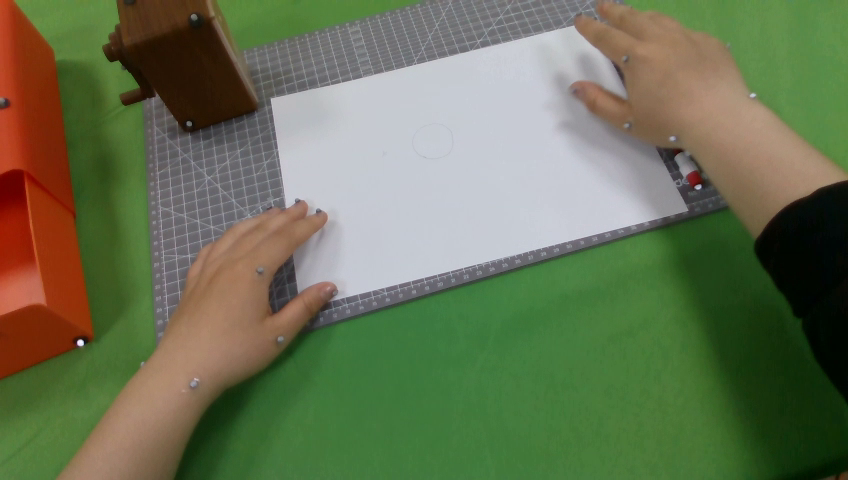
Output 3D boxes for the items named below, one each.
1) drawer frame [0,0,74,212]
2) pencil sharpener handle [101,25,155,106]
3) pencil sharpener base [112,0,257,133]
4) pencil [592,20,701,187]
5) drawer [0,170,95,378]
[{"bbox_3d":[-0.417,-0.078,0.506,0.202,0.083,0.211,-23,61,-6],"label":"drawer frame"},{"bbox_3d":[-0.245,-0.137,0.488,0.030,0.068,0.035,-21,58,-5],"label":"pencil sharpener handle"},{"bbox_3d":[-0.196,-0.150,0.503,0.077,0.108,0.061,-21,62,-5],"label":"pencil sharpener base"},{"bbox_3d":[0.179,-0.121,0.503,0.012,0.012,0.192,-17,60,-3],"label":"pencil"},{"bbox_3d":[-0.370,0.015,0.453,0.194,0.074,0.209,-24,62,-6],"label":"drawer"}]
